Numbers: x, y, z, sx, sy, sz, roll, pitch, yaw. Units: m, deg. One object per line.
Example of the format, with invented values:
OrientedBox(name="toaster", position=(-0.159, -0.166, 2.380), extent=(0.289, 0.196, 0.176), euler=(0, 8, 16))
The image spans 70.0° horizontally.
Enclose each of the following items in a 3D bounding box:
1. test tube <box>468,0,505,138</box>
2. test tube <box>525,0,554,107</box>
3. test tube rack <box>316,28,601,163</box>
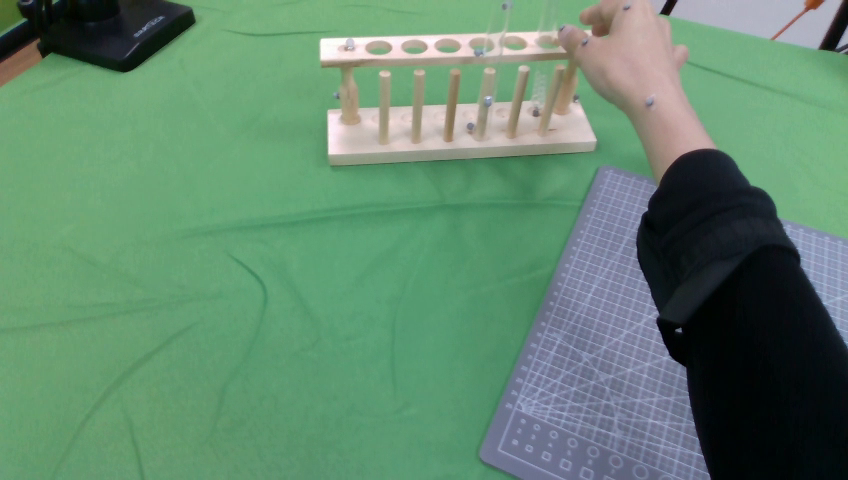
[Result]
OrientedBox(name="test tube", position=(0.051, -0.146, 0.494), extent=(0.017, 0.152, 0.017), euler=(2, 49, -2))
OrientedBox(name="test tube", position=(0.100, -0.178, 0.517), extent=(0.017, 0.151, 0.017), euler=(-2, 49, 2))
OrientedBox(name="test tube rack", position=(0.031, -0.128, 0.537), extent=(0.243, 0.086, 0.066), euler=(-4, 49, -6))
